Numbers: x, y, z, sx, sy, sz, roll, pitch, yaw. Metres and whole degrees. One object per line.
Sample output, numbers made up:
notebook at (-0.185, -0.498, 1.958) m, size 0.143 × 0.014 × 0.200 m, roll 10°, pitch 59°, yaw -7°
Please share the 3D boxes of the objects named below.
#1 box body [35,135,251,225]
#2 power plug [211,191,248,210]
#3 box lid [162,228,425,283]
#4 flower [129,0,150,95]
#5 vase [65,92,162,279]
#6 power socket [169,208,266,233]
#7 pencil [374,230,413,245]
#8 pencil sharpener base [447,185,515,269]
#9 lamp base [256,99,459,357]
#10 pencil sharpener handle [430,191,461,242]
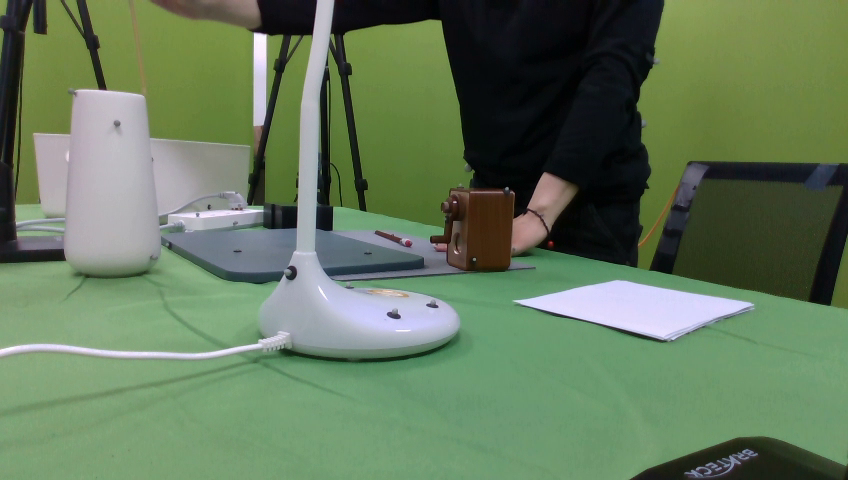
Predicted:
box body at (-0.559, -0.127, 1.257) m, size 0.253 × 0.160 × 0.365 m, roll 4°, pitch 8°, yaw 15°
power plug at (-0.384, -0.071, 1.205) m, size 0.072 × 0.052 × 0.035 m, roll 1°, pitch 8°, yaw 28°
box lid at (-0.200, 0.014, 0.861) m, size 0.265 × 0.015 × 0.369 m, roll -3°, pitch 9°, yaw -35°
flower at (-0.411, -0.384, 0.832) m, size 0.044 × 0.361 × 0.038 m, roll 13°, pitch 25°, yaw 35°
vase at (-0.347, -0.060, 0.673) m, size 0.098 × 0.200 × 0.098 m, roll 1°, pitch 7°, yaw 0°
power socket at (-0.379, -0.038, 1.129) m, size 0.072 × 0.032 × 0.227 m, roll 4°, pitch 8°, yaw 18°
pencil at (-0.059, -0.007, 1.061) m, size 0.012 × 0.012 × 0.193 m, roll -1°, pitch 6°, yaw -22°
pencil sharpener base at (0.072, -0.019, 0.802) m, size 0.077 × 0.107 × 0.061 m, roll -2°, pitch 9°, yaw -25°
lamp base at (-0.055, -0.013, 0.463) m, size 0.160 × 0.180 × 0.180 m, roll 6°, pitch 11°, yaw 27°
pencil sharpener handle at (0.025, -0.030, 0.780) m, size 0.031 × 0.067 × 0.036 m, roll -2°, pitch 15°, yaw -25°
